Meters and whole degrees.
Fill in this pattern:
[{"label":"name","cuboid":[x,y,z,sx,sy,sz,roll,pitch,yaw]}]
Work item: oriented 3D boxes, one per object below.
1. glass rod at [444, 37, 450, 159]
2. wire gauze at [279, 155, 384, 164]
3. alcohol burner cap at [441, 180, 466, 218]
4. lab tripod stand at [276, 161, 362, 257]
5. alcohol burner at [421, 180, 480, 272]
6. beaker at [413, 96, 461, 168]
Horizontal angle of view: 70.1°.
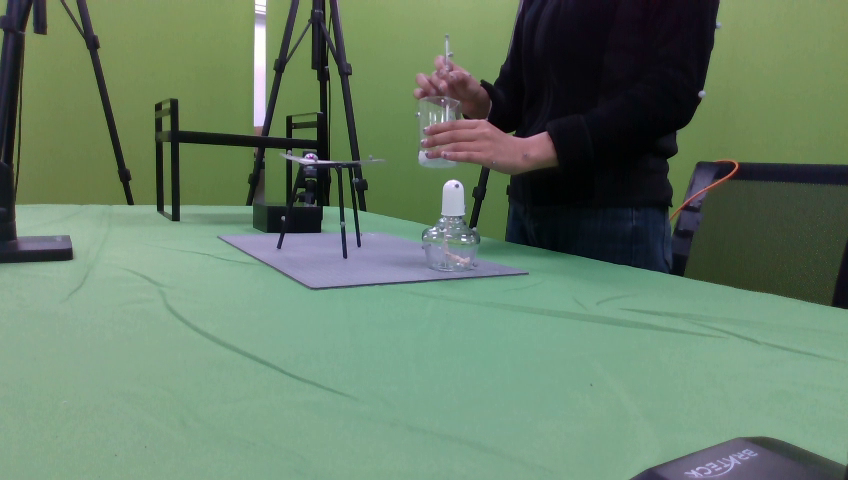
[{"label":"glass rod","cuboid":[0.037,-0.224,0.954,0.008,0.199,0.008,-1,-8,0]},{"label":"wire gauze","cuboid":[-0.134,-0.114,0.875,0.122,0.011,0.124,-2,9,-30]},{"label":"alcohol burner cap","cuboid":[0.038,-0.054,0.781,0.034,0.048,0.034,-1,12,0]},{"label":"lab tripod stand","cuboid":[-0.143,-0.049,0.884,0.148,0.131,0.148,1,9,0]},{"label":"alcohol burner","cuboid":[0.036,-0.018,0.785,0.078,0.119,0.078,4,6,0]},{"label":"beaker","cuboid":[0.025,-0.169,0.958,0.083,0.100,0.074,-4,-5,44]}]
